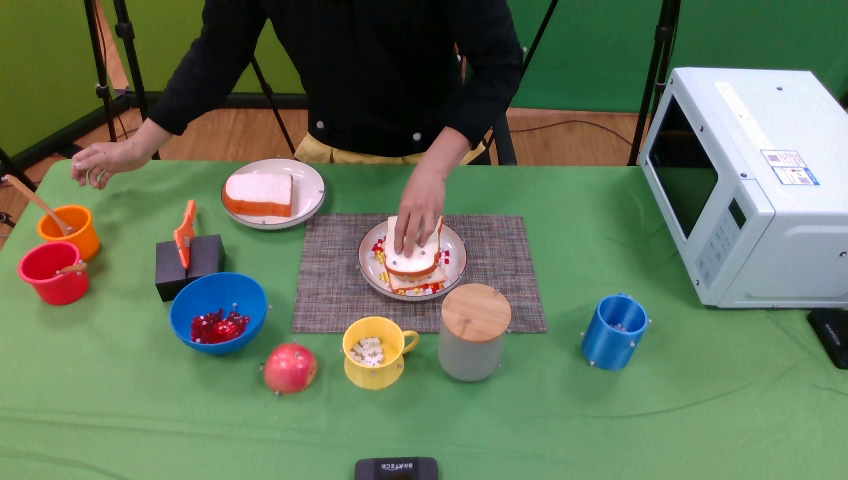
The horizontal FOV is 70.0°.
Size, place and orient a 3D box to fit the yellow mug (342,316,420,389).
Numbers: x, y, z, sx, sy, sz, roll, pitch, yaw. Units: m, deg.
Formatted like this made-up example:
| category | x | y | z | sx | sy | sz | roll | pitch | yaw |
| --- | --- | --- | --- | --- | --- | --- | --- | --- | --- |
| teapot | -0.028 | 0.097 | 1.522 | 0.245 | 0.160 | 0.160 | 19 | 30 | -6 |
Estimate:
| category | x | y | z | sx | sy | sz | roll | pitch | yaw |
| --- | --- | --- | --- | --- | --- | --- | --- | --- | --- |
| yellow mug | -0.067 | 0.178 | 0.991 | 0.131 | 0.064 | 0.099 | -16 | 50 | -19 |

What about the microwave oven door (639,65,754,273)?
| category | x | y | z | sx | sy | sz | roll | pitch | yaw |
| --- | --- | --- | --- | --- | --- | --- | --- | --- | --- |
| microwave oven door | 0.522 | -0.147 | 1.193 | 0.039 | 0.245 | 0.353 | 0 | 47 | -3 |

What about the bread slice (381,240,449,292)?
| category | x | y | z | sx | sy | sz | roll | pitch | yaw |
| --- | --- | --- | --- | --- | --- | --- | --- | --- | --- |
| bread slice | -0.027 | 0.039 | 1.140 | 0.107 | 0.018 | 0.133 | -12 | 48 | -16 |

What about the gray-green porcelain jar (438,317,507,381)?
| category | x | y | z | sx | sy | sz | roll | pitch | yaw |
| --- | --- | --- | --- | --- | --- | --- | --- | --- | --- |
| gray-green porcelain jar | 0.076 | 0.158 | 0.977 | 0.106 | 0.127 | 0.105 | 2 | 46 | -2 |

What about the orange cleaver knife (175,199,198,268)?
| category | x | y | z | sx | sy | sz | roll | pitch | yaw |
| --- | --- | --- | --- | --- | --- | --- | --- | --- | --- |
| orange cleaver knife | -0.438 | -0.017 | 1.138 | 0.012 | 0.077 | 0.210 | -13 | 27 | -7 |

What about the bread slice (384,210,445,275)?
| category | x | y | z | sx | sy | sz | roll | pitch | yaw |
| --- | --- | --- | --- | --- | --- | --- | --- | --- | --- |
| bread slice | -0.019 | 0.002 | 1.073 | 0.105 | 0.019 | 0.131 | 1 | 59 | 6 |

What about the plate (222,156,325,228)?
| category | x | y | z | sx | sy | sz | roll | pitch | yaw |
| --- | --- | --- | --- | --- | --- | --- | --- | --- | --- |
| plate | -0.308 | -0.095 | 1.251 | 0.209 | 0.038 | 0.208 | 3 | 46 | -3 |

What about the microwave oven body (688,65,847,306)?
| category | x | y | z | sx | sy | sz | roll | pitch | yaw |
| --- | --- | --- | --- | --- | --- | --- | --- | --- | --- |
| microwave oven body | 0.669 | -0.111 | 1.176 | 0.326 | 0.261 | 0.439 | 0 | 46 | -3 |

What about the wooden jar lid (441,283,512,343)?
| category | x | y | z | sx | sy | sz | roll | pitch | yaw |
| --- | --- | --- | --- | --- | --- | --- | --- | --- | --- |
| wooden jar lid | 0.080 | 0.114 | 0.931 | 0.108 | 0.021 | 0.107 | 1 | 48 | -1 |

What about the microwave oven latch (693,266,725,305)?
| category | x | y | z | sx | sy | sz | roll | pitch | yaw |
| --- | --- | --- | --- | --- | --- | --- | --- | --- | --- |
| microwave oven latch | 0.523 | 0.081 | 1.115 | 0.030 | 0.029 | 0.078 | 3 | 46 | 0 |

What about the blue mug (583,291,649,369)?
| category | x | y | z | sx | sy | sz | roll | pitch | yaw |
| --- | --- | --- | --- | --- | --- | --- | --- | --- | --- |
| blue mug | 0.324 | 0.142 | 1.024 | 0.082 | 0.106 | 0.116 | 15 | 47 | 11 |

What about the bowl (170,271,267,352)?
| category | x | y | z | sx | sy | sz | roll | pitch | yaw |
| --- | --- | --- | --- | --- | --- | --- | --- | --- | --- |
| bowl | -0.332 | 0.132 | 1.006 | 0.151 | 0.077 | 0.150 | 2 | 46 | -2 |

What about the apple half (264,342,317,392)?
| category | x | y | z | sx | sy | sz | roll | pitch | yaw |
| --- | --- | --- | --- | --- | --- | --- | --- | --- | --- |
| apple half | -0.214 | 0.198 | 0.970 | 0.074 | 0.053 | 0.080 | 19 | 48 | 11 |

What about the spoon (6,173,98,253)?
| category | x | y | z | sx | sy | sz | roll | pitch | yaw |
| --- | --- | --- | --- | --- | --- | --- | --- | --- | --- |
| spoon | -0.678 | -0.050 | 1.106 | 0.021 | 0.194 | 0.041 | -19 | 27 | 43 |

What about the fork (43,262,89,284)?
| category | x | y | z | sx | sy | sz | roll | pitch | yaw |
| --- | --- | --- | --- | --- | --- | --- | --- | --- | --- |
| fork | -0.599 | 0.053 | 1.013 | 0.207 | 0.019 | 0.028 | -14 | 30 | 45 |

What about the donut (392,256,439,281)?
| category | x | y | z | sx | sy | sz | roll | pitch | yaw |
| --- | --- | --- | --- | --- | --- | --- | --- | --- | --- |
| donut | -0.021 | 0.031 | 1.112 | 0.099 | 0.048 | 0.098 | 0 | 50 | 0 |

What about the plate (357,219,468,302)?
| category | x | y | z | sx | sy | sz | roll | pitch | yaw |
| --- | --- | --- | --- | --- | --- | --- | --- | --- | --- |
| plate | -0.021 | 0.037 | 1.141 | 0.208 | 0.039 | 0.206 | 2 | 46 | -2 |
